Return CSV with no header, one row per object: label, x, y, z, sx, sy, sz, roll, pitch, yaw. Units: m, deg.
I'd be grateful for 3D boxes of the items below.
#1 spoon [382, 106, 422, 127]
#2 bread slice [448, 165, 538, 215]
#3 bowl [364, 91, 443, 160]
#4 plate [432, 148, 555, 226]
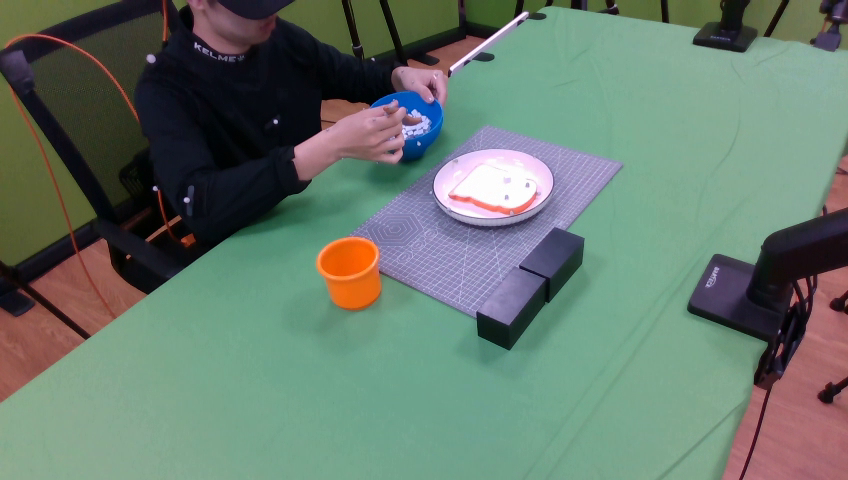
spoon,-0.041,-0.213,1.030,0.041,0.021,0.194,-4,1,14
bread slice,0.126,-0.085,1.038,0.133,0.018,0.107,16,45,27
bowl,-0.035,-0.208,1.159,0.151,0.077,0.150,-3,49,4
plate,0.119,-0.087,1.037,0.209,0.038,0.208,-4,40,4
